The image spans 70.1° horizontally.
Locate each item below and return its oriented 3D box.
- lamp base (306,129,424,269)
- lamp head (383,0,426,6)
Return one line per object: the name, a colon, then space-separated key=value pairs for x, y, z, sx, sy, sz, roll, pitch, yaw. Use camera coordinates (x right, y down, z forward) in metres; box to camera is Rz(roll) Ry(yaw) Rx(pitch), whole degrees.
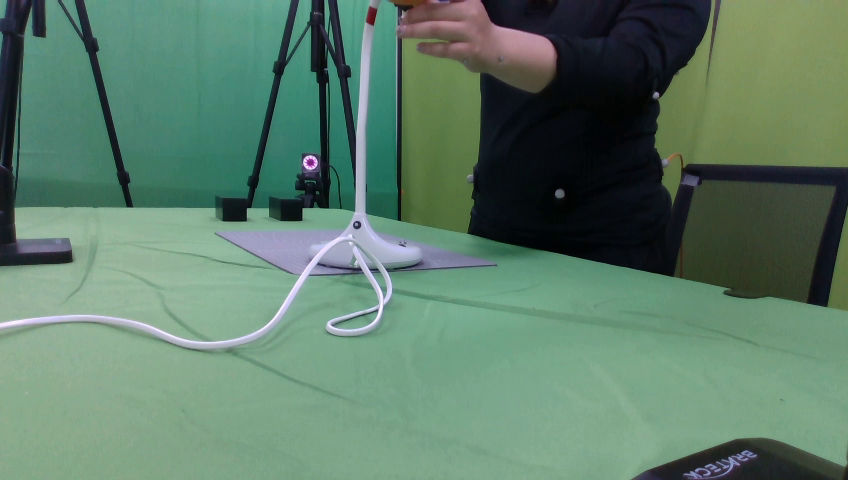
lamp base: x=-0.077 y=-0.057 z=0.810 sx=0.161 sy=0.180 sz=0.179 roll=2 pitch=10 yaw=-4
lamp head: x=-0.024 y=-0.325 z=0.671 sx=0.112 sy=0.123 sz=0.112 roll=4 pitch=3 yaw=0
